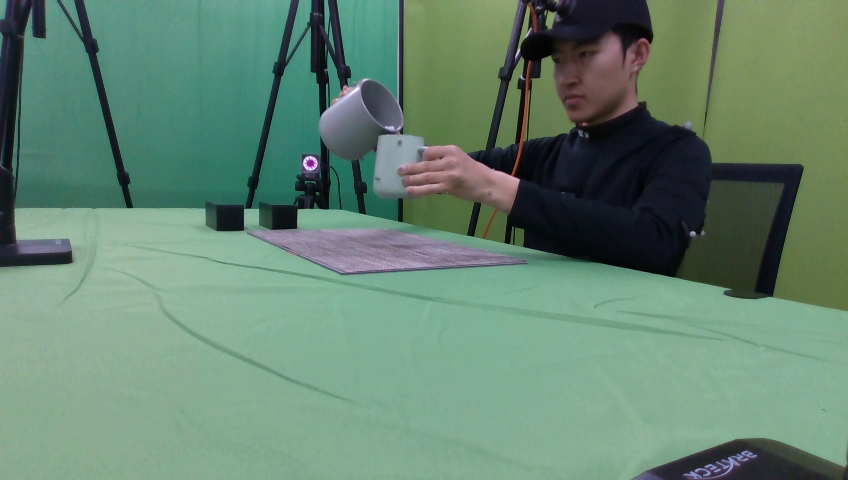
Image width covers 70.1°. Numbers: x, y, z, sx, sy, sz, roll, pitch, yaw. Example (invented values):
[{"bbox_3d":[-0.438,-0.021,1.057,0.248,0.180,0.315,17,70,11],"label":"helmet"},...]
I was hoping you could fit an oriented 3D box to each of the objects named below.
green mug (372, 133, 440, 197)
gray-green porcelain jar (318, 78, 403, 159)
[{"bbox_3d":[-0.027,-0.126,1.023,0.125,0.105,0.093,5,6,33],"label":"green mug"},{"bbox_3d":[-0.118,-0.213,1.085,0.126,0.105,0.106,-29,-13,35],"label":"gray-green porcelain jar"}]
